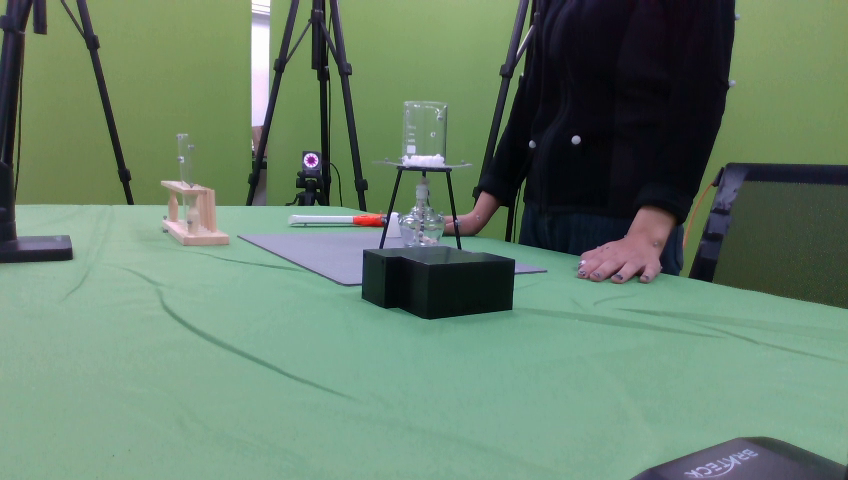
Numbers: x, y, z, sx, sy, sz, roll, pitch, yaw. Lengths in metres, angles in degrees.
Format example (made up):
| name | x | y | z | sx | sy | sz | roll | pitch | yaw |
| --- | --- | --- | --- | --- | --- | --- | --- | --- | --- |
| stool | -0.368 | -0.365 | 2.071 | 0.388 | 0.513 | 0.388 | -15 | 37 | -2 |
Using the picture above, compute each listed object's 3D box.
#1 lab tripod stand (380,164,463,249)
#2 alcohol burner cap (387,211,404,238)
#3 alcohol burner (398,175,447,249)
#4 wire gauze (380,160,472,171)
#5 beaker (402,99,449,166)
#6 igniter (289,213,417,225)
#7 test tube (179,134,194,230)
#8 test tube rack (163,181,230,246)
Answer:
| name | x | y | z | sx | sy | sz | roll | pitch | yaw |
| --- | --- | --- | --- | --- | --- | --- | --- | --- | --- |
| lab tripod stand | -0.003 | -0.055 | 0.967 | 0.148 | 0.131 | 0.148 | 2 | 9 | 0 |
| alcohol burner cap | -0.053 | -0.029 | 1.107 | 0.034 | 0.048 | 0.034 | 2 | 9 | 0 |
| alcohol burner | -0.002 | -0.046 | 0.973 | 0.078 | 0.119 | 0.078 | 0 | 7 | 0 |
| wire gauze | -0.004 | -0.120 | 0.959 | 0.122 | 0.011 | 0.124 | -5 | 13 | -33 |
| beaker | 0.003 | -0.168 | 0.957 | 0.073 | 0.100 | 0.084 | 8 | 11 | 35 |
| igniter | -0.144 | -0.044 | 1.275 | 0.278 | 0.025 | 0.057 | -1 | -2 | -27 |
| test tube | -0.366 | -0.089 | 0.938 | 0.017 | 0.150 | 0.017 | -1 | 9 | 1 |
| test tube rack | -0.387 | -0.050 | 1.015 | 0.067 | 0.085 | 0.241 | -2 | 9 | -30 |
